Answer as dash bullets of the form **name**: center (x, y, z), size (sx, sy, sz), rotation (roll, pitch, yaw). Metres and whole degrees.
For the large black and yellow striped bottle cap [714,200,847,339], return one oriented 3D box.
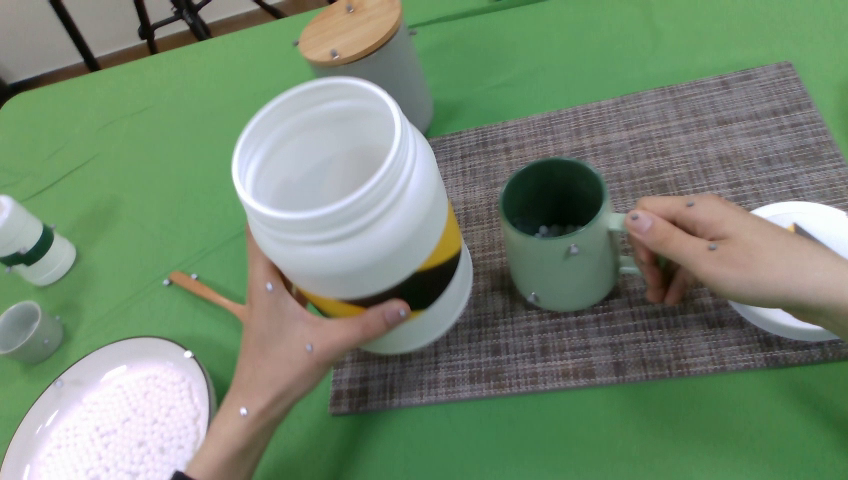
- **large black and yellow striped bottle cap**: center (0.281, 0.019, 0.456), size (0.115, 0.019, 0.114), rotation (-10, 52, 14)

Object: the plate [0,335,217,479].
- **plate**: center (-0.270, 0.183, 0.525), size (0.209, 0.038, 0.207), rotation (-9, 53, 13)

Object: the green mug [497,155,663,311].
- **green mug**: center (0.120, -0.001, 0.471), size (0.124, 0.106, 0.092), rotation (9, 59, 24)

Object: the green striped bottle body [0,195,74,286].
- **green striped bottle body**: center (-0.458, -0.004, 0.671), size (0.063, 0.120, 0.062), rotation (-10, 53, 14)

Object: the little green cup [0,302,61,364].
- **little green cup**: center (-0.418, 0.100, 0.636), size (0.061, 0.039, 0.061), rotation (-10, 53, 13)

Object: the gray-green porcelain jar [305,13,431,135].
- **gray-green porcelain jar**: center (-0.054, -0.164, 0.636), size (0.105, 0.128, 0.105), rotation (-10, 49, 12)

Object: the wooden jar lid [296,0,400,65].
- **wooden jar lid**: center (-0.072, -0.203, 0.590), size (0.108, 0.021, 0.107), rotation (-12, 51, 15)

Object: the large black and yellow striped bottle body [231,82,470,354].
- **large black and yellow striped bottle body**: center (-0.045, -0.009, 0.436), size (0.130, 0.186, 0.129), rotation (-7, 57, 12)

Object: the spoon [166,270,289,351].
- **spoon**: center (-0.199, 0.060, 0.597), size (0.192, 0.022, 0.041), rotation (21, 80, 30)
